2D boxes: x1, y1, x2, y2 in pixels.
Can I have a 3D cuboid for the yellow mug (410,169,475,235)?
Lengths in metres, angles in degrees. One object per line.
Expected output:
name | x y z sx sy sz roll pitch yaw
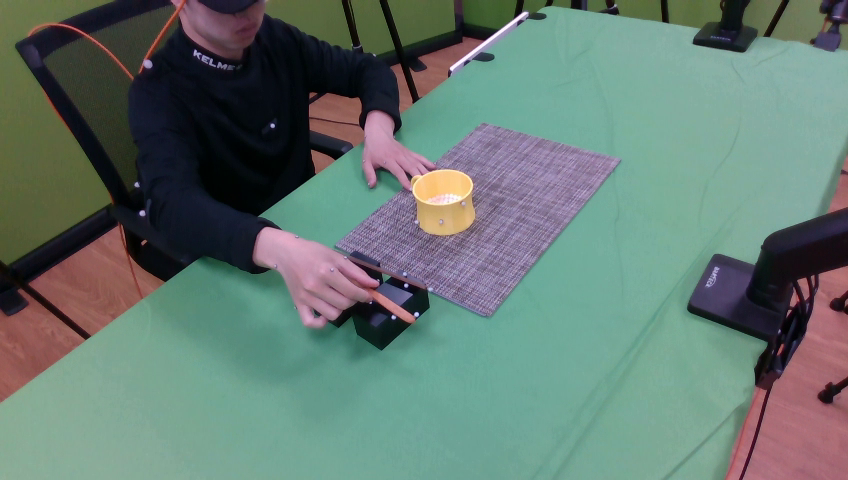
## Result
yellow mug | 0.022 -0.070 1.007 0.129 0.064 0.100 29 52 36

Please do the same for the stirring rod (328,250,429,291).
stirring rod | -0.068 0.042 0.859 0.175 0.006 0.014 19 10 28

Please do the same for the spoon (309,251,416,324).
spoon | -0.087 0.065 0.829 0.192 0.022 0.042 28 58 32
